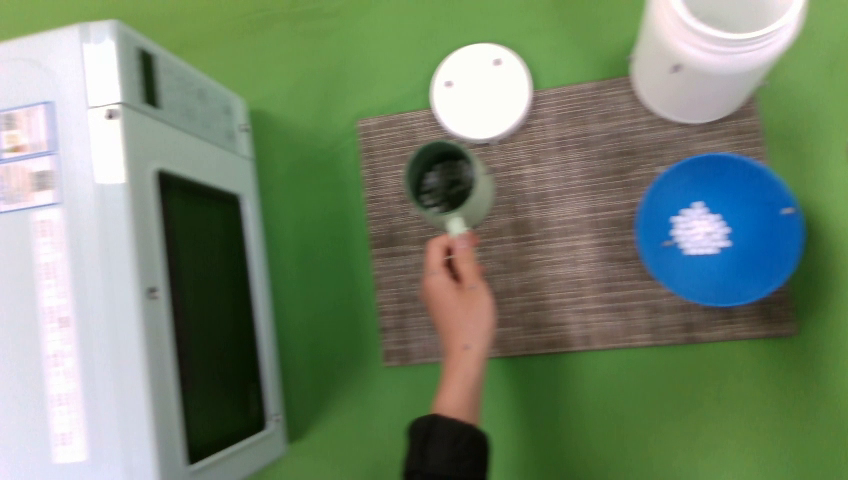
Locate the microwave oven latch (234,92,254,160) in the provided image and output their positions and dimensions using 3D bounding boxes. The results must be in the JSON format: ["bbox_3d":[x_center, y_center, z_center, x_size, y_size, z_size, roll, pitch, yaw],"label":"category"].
[{"bbox_3d":[-0.228,-0.137,0.736,0.030,0.029,0.079,-8,86,10],"label":"microwave oven latch"}]

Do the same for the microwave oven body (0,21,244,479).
[{"bbox_3d":[-0.369,0.052,0.654,0.325,0.261,0.440,-9,85,10],"label":"microwave oven body"}]

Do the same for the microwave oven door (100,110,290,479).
[{"bbox_3d":[-0.222,0.072,0.619,0.039,0.245,0.355,-9,85,11],"label":"microwave oven door"}]

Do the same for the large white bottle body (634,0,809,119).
[{"bbox_3d":[0.277,-0.206,0.579,0.130,0.185,0.130,-2,82,12],"label":"large white bottle body"}]

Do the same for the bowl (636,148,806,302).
[{"bbox_3d":[0.291,-0.012,0.619,0.151,0.077,0.151,-1,86,12],"label":"bowl"}]

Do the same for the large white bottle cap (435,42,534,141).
[{"bbox_3d":[0.069,-0.172,0.702,0.114,0.018,0.114,-2,82,12],"label":"large white bottle cap"}]

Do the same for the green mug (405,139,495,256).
[{"bbox_3d":[0.033,-0.044,0.659,0.092,0.105,0.125,-16,83,9],"label":"green mug"}]
